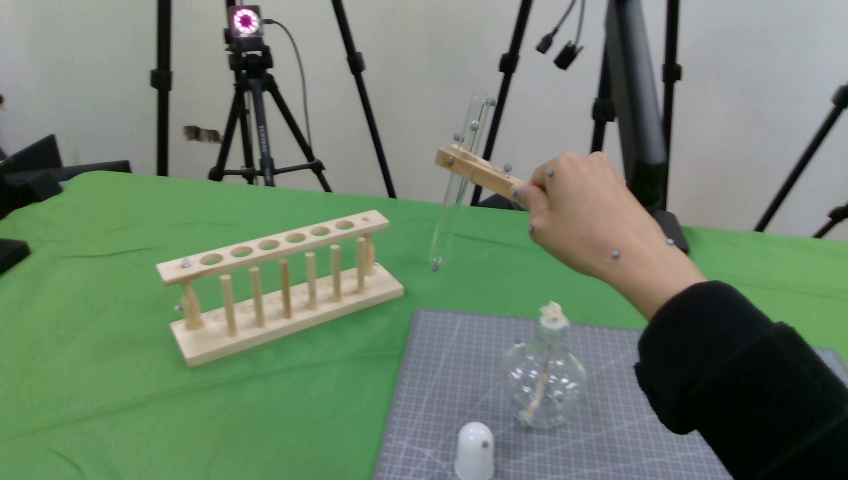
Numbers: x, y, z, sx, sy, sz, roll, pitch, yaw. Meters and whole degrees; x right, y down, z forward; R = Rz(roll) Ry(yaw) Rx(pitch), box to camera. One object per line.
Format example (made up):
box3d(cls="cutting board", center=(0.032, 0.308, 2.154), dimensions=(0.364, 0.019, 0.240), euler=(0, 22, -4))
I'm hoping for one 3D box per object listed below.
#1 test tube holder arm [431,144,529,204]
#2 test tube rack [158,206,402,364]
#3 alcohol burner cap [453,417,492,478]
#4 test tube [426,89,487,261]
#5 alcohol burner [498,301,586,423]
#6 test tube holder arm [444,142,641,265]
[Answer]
box3d(cls="test tube holder arm", center=(0.042, -0.051, 0.461), dimensions=(0.087, 0.015, 0.010), euler=(29, 34, 25))
box3d(cls="test tube rack", center=(-0.143, 0.040, 0.650), dimensions=(0.243, 0.086, 0.066), euler=(-17, 36, -29))
box3d(cls="alcohol burner cap", center=(0.040, 0.163, 0.487), dimensions=(0.034, 0.048, 0.033), euler=(2, 31, -1))
box3d(cls="test tube", center=(0.023, -0.047, 0.485), dimensions=(0.017, 0.151, 0.017), euler=(11, 30, -6))
box3d(cls="alcohol burner", center=(0.105, 0.100, 0.528), dimensions=(0.078, 0.120, 0.077), euler=(2, 32, -1))
box3d(cls="test tube holder arm", center=(0.079, -0.032, 0.443), dimensions=(0.176, 0.015, 0.013), euler=(34, 37, 31))
